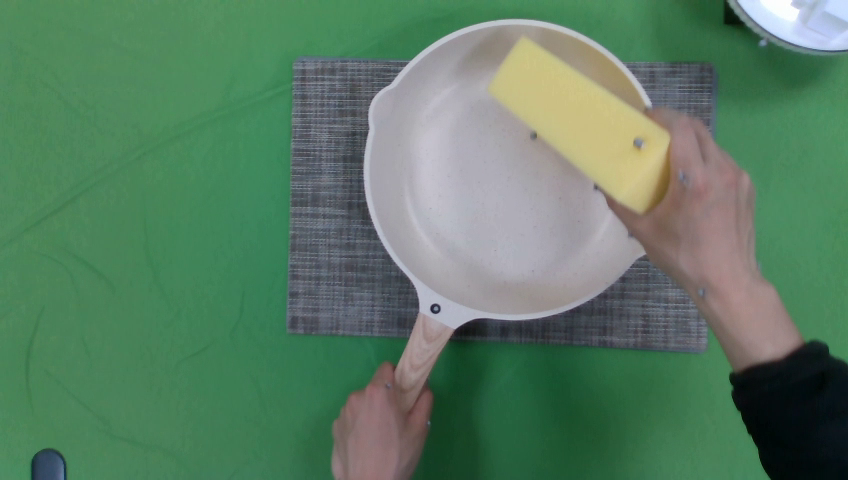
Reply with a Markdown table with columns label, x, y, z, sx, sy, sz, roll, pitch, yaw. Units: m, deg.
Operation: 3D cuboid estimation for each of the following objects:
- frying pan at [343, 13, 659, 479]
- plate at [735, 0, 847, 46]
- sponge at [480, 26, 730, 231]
| label | x | y | z | sx | sy | sz | roll | pitch | yaw |
| --- | --- | --- | --- | --- | --- | --- | --- | --- | --- |
| frying pan | 0.039 | 0.019 | 0.604 | 0.306 | 0.103 | 0.487 | 27 | 84 | 4 |
| plate | 0.375 | -0.282 | 0.567 | 0.207 | 0.039 | 0.207 | 0 | 91 | 2 |
| sponge | 0.152 | -0.102 | 0.536 | 0.061 | 0.119 | 0.204 | -54 | 43 | 18 |
